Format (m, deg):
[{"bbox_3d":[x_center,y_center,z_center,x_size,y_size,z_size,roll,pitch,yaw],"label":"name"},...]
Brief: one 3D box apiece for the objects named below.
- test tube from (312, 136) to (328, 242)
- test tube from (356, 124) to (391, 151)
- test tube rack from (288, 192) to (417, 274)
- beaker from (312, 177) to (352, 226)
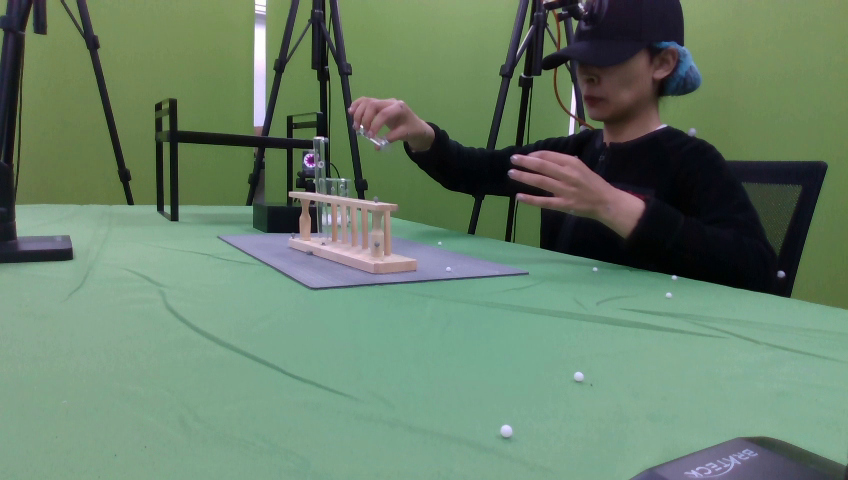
[{"bbox_3d":[-0.146,-0.071,0.850,0.017,0.150,0.017,-1,11,0],"label":"test tube"},{"bbox_3d":[-0.086,-0.173,1.009,0.017,0.017,0.150,-1,22,-25],"label":"test tube"},{"bbox_3d":[-0.106,-0.017,0.835,0.067,0.085,0.241,-3,9,-37],"label":"test tube rack"},{"bbox_3d":[-0.194,-0.081,1.266,0.084,0.100,0.073,-3,9,-29],"label":"beaker"}]
